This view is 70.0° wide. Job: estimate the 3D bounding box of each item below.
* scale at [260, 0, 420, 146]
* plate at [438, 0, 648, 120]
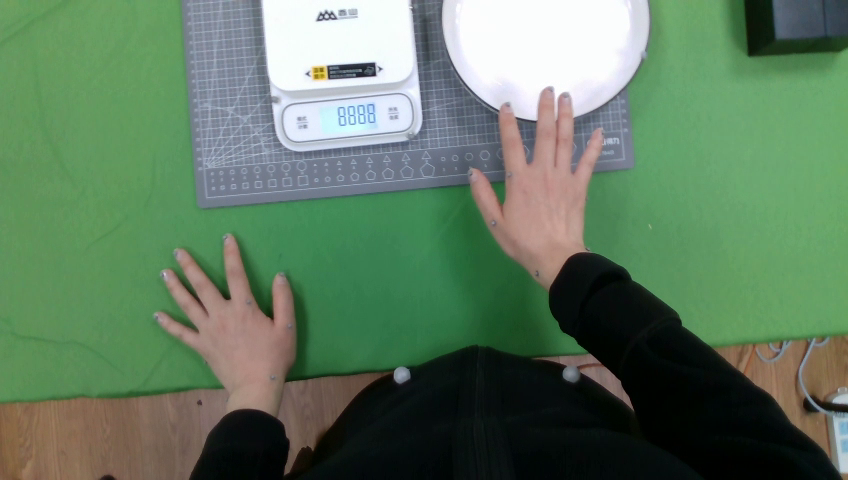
[{"bbox_3d":[-0.086,-0.201,0.610,0.149,0.031,0.200,-6,89,-1],"label":"scale"},{"bbox_3d":[0.117,-0.221,0.611,0.209,0.038,0.209,0,88,-1],"label":"plate"}]
